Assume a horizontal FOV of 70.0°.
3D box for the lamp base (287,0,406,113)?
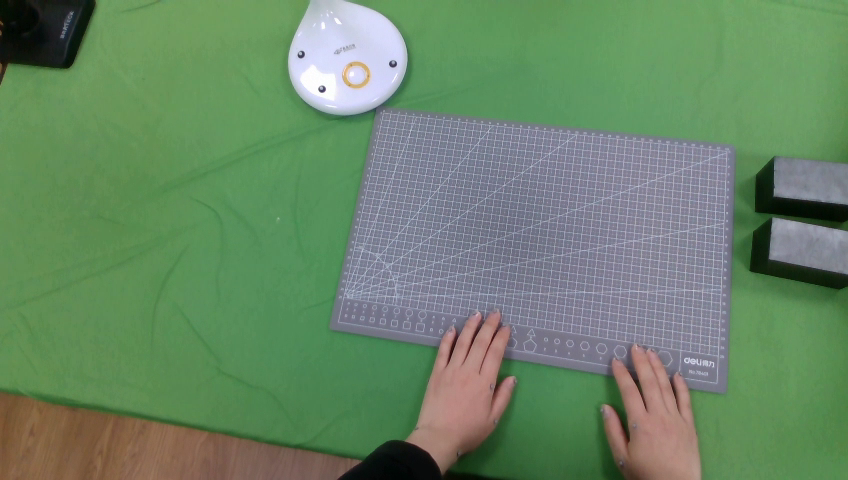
[{"bbox_3d":[-0.118,-0.274,0.739,0.160,0.181,0.178,-32,70,-5],"label":"lamp base"}]
